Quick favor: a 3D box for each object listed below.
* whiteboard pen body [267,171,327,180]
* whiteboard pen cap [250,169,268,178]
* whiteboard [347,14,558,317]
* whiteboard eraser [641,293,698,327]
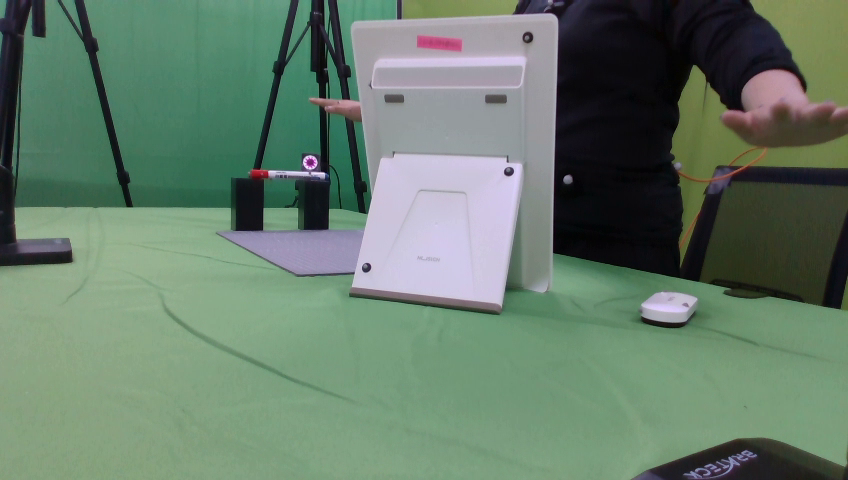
[{"bbox_3d":[-0.260,-0.126,1.181,0.141,0.017,0.017,-2,8,-26],"label":"whiteboard pen body"},{"bbox_3d":[-0.315,-0.127,1.155,0.032,0.017,0.017,0,7,-24],"label":"whiteboard pen cap"},{"bbox_3d":[0.012,-0.056,0.609,0.216,0.305,0.144,5,27,20],"label":"whiteboard"},{"bbox_3d":[0.240,0.066,0.590,0.041,0.019,0.102,6,7,31],"label":"whiteboard eraser"}]
